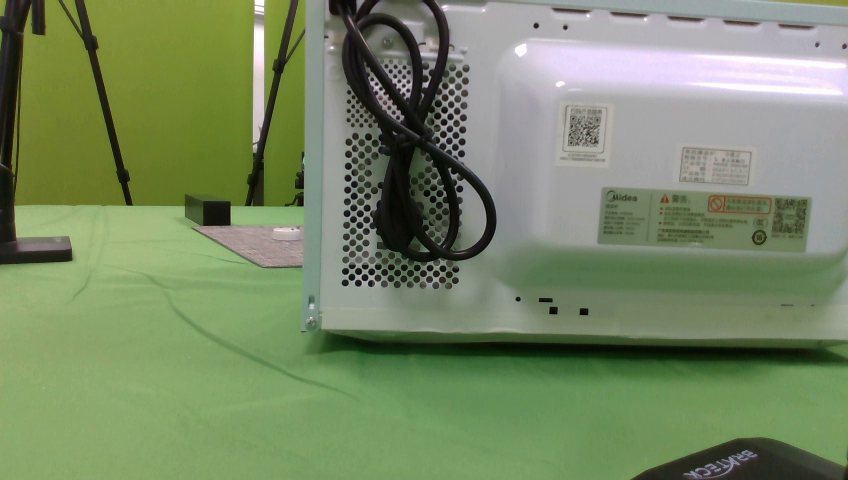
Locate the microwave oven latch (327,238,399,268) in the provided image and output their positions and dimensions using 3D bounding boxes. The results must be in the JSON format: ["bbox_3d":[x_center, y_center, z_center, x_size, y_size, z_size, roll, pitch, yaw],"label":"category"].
[{"bbox_3d":[-0.069,0.015,0.694,0.079,0.029,0.030,3,7,-3],"label":"microwave oven latch"}]

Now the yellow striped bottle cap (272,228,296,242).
[{"bbox_3d":[-0.232,-0.008,1.012,0.044,0.018,0.044,3,9,0],"label":"yellow striped bottle cap"}]

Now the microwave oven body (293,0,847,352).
[{"bbox_3d":[0.122,-0.055,0.550,0.442,0.260,0.325,3,7,-5],"label":"microwave oven body"}]

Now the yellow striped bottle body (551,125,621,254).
[{"bbox_3d":[0.157,-0.050,0.585,0.063,0.120,0.063,1,6,0],"label":"yellow striped bottle body"}]

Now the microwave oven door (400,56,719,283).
[{"bbox_3d":[0.155,-0.078,0.698,0.356,0.243,0.039,2,8,-5],"label":"microwave oven door"}]
